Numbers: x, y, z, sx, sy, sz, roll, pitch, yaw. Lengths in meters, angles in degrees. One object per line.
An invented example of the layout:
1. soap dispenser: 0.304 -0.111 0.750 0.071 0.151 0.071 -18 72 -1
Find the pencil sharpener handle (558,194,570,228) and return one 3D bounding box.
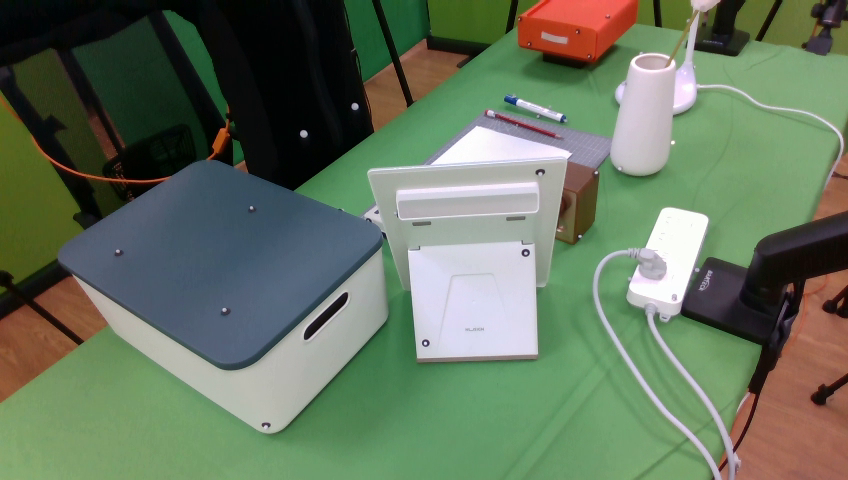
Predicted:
1. pencil sharpener handle: 0.195 -0.038 0.908 0.035 0.068 0.031 24 50 30

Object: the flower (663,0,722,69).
1. flower: 0.379 -0.261 0.965 0.044 0.362 0.038 20 53 5

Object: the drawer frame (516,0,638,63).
1. drawer frame: 0.355 -0.508 1.410 0.200 0.083 0.214 23 51 32

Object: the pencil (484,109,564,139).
1. pencil: 0.201 -0.235 1.229 0.192 0.012 0.012 28 51 32

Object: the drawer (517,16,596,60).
1. drawer: 0.352 -0.506 1.405 0.193 0.073 0.212 23 49 32

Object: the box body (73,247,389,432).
1. box body: -0.255 0.065 0.827 0.361 0.161 0.255 21 48 29

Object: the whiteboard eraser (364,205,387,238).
1. whiteboard eraser: -0.040 -0.025 0.991 0.112 0.042 0.056 21 49 29

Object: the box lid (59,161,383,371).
1. box lid: -0.262 0.010 0.777 0.369 0.015 0.264 21 48 29

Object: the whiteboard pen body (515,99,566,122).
1. whiteboard pen body: 0.234 -0.274 1.262 0.139 0.017 0.017 28 51 29

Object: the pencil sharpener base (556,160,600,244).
1. pencil sharpener base: 0.228 -0.057 0.945 0.061 0.107 0.077 24 50 31

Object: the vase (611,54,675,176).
1. vase: 0.377 -0.209 1.031 0.098 0.201 0.097 -3 40 3

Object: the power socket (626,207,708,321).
1. power socket: 0.359 0.025 0.886 0.072 0.033 0.227 16 46 26

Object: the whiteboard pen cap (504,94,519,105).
1. whiteboard pen cap: 0.190 -0.299 1.292 0.033 0.018 0.018 30 52 28

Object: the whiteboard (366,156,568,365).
1. whiteboard: 0.059 0.050 0.738 0.217 0.307 0.143 -2 60 6

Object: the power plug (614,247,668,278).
1. power plug: 0.306 0.031 0.851 0.072 0.053 0.035 24 49 33

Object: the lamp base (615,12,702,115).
1. lamp base: 0.484 -0.363 1.211 0.180 0.181 0.159 -15 41 -14
